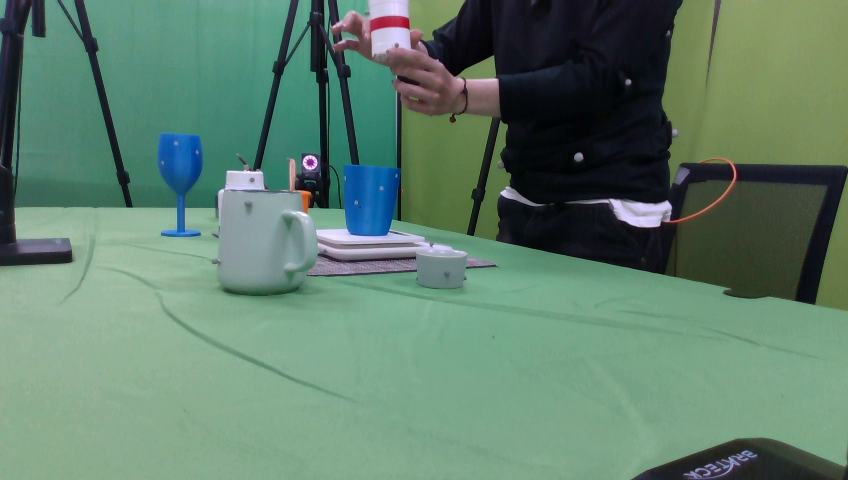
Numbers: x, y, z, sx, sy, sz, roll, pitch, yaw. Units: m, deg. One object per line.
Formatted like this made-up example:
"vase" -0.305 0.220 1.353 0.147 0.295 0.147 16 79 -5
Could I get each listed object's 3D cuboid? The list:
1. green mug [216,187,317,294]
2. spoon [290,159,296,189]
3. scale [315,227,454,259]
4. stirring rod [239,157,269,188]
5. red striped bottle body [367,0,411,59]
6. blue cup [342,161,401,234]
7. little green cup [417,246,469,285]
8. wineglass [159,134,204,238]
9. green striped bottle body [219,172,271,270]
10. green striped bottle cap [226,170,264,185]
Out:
"green mug" -0.157 0.000 0.629 0.124 0.105 0.093 7 9 37
"spoon" -0.273 -0.102 1.252 0.042 0.193 0.021 7 -38 -17
"scale" -0.066 0.001 0.906 0.202 0.031 0.148 -2 8 -31
"stirring rod" -0.309 -0.098 1.210 0.006 0.177 0.014 -39 30 -4
"red striped bottle body" -0.055 -0.348 0.942 0.063 0.119 0.063 -4 5 1
"blue cup" -0.079 -0.062 0.882 0.093 0.100 0.092 4 6 0
"little green cup" 0.021 0.029 0.701 0.061 0.038 0.061 1 6 0
"wineglass" -0.415 -0.093 1.040 0.074 0.172 0.073 2 7 0
"green striped bottle body" -0.223 -0.025 0.755 0.063 0.119 0.063 2 7 0
"green striped bottle cap" -0.222 -0.076 0.748 0.044 0.020 0.044 0 7 0
